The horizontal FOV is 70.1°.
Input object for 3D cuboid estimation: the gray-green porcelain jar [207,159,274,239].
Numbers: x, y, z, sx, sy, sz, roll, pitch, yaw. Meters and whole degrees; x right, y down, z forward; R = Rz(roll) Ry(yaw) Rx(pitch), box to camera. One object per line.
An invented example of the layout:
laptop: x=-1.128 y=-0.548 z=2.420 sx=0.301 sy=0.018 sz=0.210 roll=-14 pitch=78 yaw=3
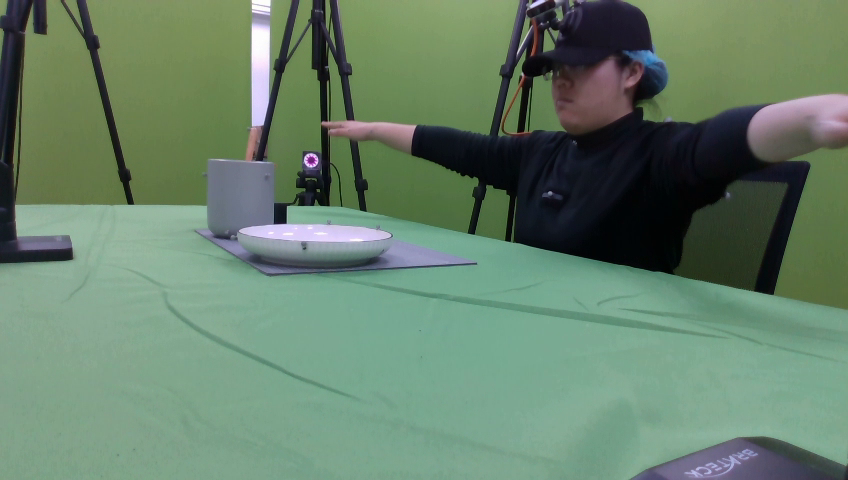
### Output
gray-green porcelain jar: x=-0.304 y=-0.068 z=1.004 sx=0.106 sy=0.126 sz=0.106 roll=3 pitch=7 yaw=0

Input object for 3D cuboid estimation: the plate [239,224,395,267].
plate: x=-0.144 y=0.007 z=0.823 sx=0.208 sy=0.039 sz=0.207 roll=3 pitch=7 yaw=0

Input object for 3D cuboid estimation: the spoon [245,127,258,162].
spoon: x=-0.299 y=-0.115 z=1.032 sx=0.041 sy=0.193 sz=0.022 roll=-5 pitch=-24 yaw=11
